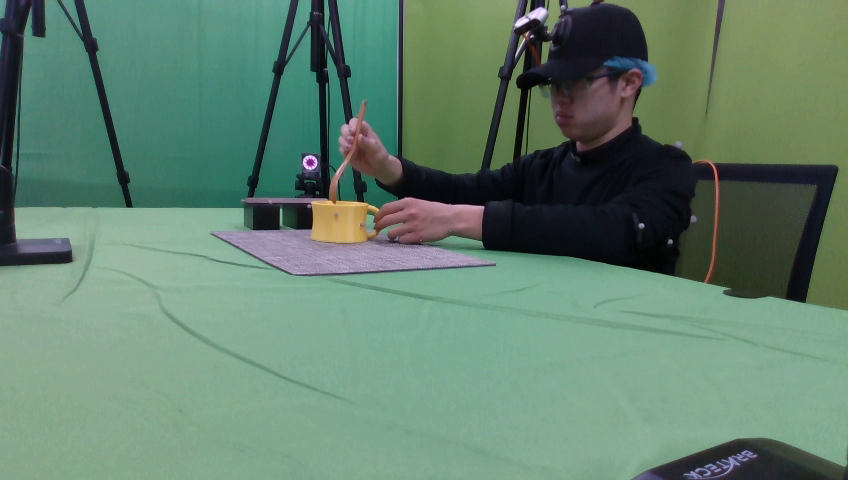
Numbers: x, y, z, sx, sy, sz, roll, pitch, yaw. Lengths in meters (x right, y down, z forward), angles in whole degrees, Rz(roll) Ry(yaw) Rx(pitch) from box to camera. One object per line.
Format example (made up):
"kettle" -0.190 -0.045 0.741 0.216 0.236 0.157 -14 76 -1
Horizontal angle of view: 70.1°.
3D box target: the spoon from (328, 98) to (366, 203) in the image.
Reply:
"spoon" -0.132 -0.158 1.058 0.022 0.193 0.041 22 -8 -6

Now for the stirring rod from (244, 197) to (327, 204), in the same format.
"stirring rod" -0.270 -0.078 1.201 0.177 0.006 0.014 -2 44 -37

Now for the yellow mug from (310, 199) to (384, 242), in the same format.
"yellow mug" -0.132 -0.035 1.054 0.131 0.064 0.099 0 8 -23
